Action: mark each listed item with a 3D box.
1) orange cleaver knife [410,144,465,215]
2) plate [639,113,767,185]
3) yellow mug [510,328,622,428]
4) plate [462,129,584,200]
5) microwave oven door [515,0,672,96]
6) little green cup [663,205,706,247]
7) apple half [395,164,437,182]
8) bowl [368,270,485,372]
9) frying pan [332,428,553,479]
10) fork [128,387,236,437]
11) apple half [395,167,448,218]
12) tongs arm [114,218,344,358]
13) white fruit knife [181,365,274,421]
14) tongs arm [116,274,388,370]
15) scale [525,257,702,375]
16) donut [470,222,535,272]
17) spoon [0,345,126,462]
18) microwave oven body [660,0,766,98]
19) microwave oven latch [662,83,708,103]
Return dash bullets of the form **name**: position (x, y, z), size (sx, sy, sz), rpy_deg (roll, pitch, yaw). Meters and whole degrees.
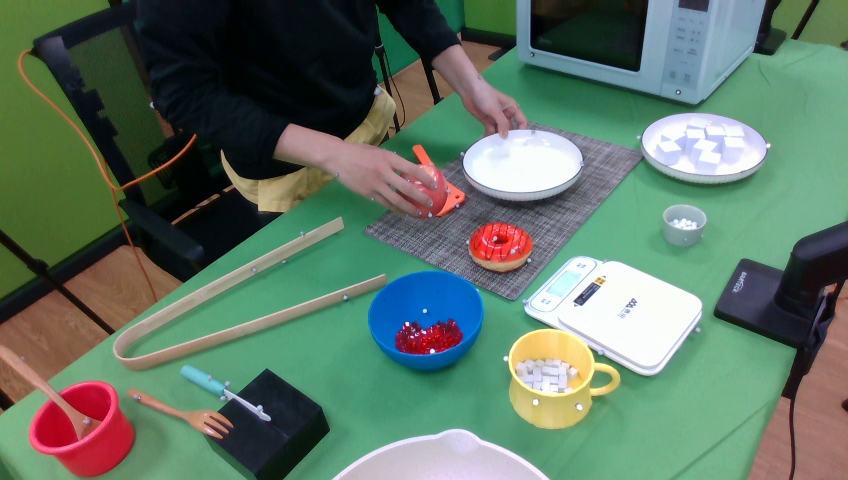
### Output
- **orange cleaver knife**: position (0.004, -0.113, 1.103), size (0.077, 0.012, 0.209), rpy_deg (-24, 45, -10)
- **plate**: position (0.489, -0.157, 1.074), size (0.207, 0.039, 0.206), rpy_deg (-4, 40, 4)
- **yellow mug**: position (0.168, 0.164, 0.722), size (0.130, 0.064, 0.099), rpy_deg (0, 40, 8)
- **plate**: position (0.171, -0.127, 1.051), size (0.209, 0.038, 0.208), rpy_deg (-3, 39, 3)
- **microwave oven door**: position (0.343, -0.455, 1.259), size (0.353, 0.245, 0.039), rpy_deg (26, 51, 33)
- **little green cup**: position (0.396, -0.020, 0.926), size (0.061, 0.039, 0.061), rpy_deg (-4, 40, 4)
- **apple half**: position (-0.008, -0.092, 0.949), size (0.081, 0.081, 0.032), rpy_deg (-9, 48, -2)
- **bowl**: position (0.007, 0.118, 0.791), size (0.151, 0.077, 0.150), rpy_deg (-4, 40, 4)
- **frying pan**: position (-0.089, 0.306, 0.564), size (0.487, 0.103, 0.306), rpy_deg (10, 41, 7)
- **fork**: position (-0.305, 0.208, 0.744), size (0.206, 0.019, 0.028), rpy_deg (3, 42, 36)
- **apple half**: position (-0.002, -0.065, 0.921), size (0.081, 0.075, 0.053), rpy_deg (-8, 47, -3)
- **tongs arm**: position (-0.280, 0.067, 0.927), size (0.386, 0.026, 0.050), rpy_deg (-29, 50, -23)
- **white fruit knife**: position (-0.245, 0.187, 0.747), size (0.205, 0.027, 0.016), rpy_deg (9, 41, 40)
- **tongs arm**: position (-0.236, 0.116, 0.870), size (0.389, 0.028, 0.028), rpy_deg (-18, 50, -13)
- **scale**: position (0.254, 0.091, 0.821), size (0.199, 0.032, 0.149), rpy_deg (27, 51, 35)
- **donut**: position (0.119, 0.009, 0.923), size (0.099, 0.048, 0.098), rpy_deg (-4, 38, 3)
- **spoon**: position (-0.434, 0.192, 0.720), size (0.194, 0.021, 0.042), rpy_deg (47, 53, -7)
- **microwave oven body**: position (0.472, -0.513, 1.317), size (0.438, 0.261, 0.327), rpy_deg (26, 51, 34)
- **microwave oven latch**: position (0.517, -0.296, 1.204), size (0.078, 0.029, 0.030), rpy_deg (28, 52, 35)
